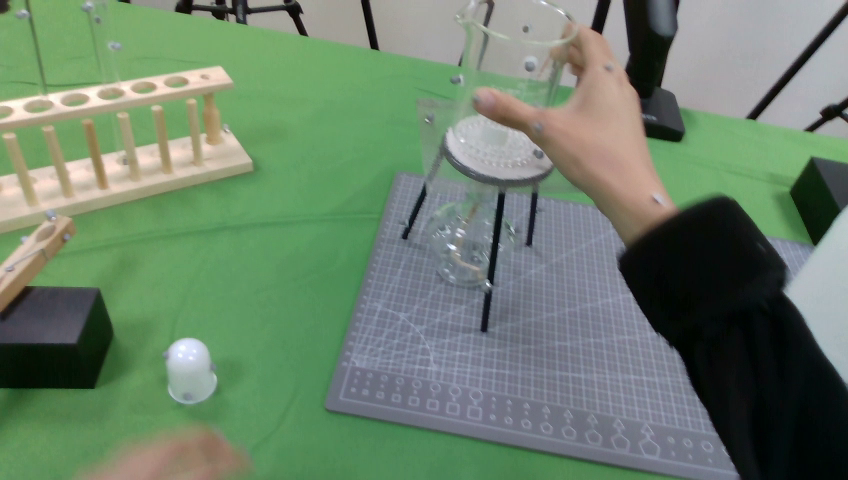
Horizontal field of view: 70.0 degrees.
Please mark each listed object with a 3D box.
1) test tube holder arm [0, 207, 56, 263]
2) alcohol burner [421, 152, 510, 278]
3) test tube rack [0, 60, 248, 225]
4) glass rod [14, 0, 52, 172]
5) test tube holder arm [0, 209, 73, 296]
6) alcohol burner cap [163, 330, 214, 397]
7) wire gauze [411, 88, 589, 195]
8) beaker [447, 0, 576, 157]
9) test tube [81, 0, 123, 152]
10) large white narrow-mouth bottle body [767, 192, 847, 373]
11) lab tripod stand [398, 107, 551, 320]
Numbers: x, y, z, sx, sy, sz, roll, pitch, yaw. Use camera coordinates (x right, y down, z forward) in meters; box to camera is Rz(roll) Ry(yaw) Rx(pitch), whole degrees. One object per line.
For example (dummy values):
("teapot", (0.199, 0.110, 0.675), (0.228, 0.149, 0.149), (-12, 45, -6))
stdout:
("test tube holder arm", (-0.293, 0.038, 0.393), (0.013, 0.015, 0.177), (12, 42, 3))
("alcohol burner", (0.039, -0.025, 0.517), (0.078, 0.120, 0.077), (7, 42, -6))
("test tube rack", (-0.293, -0.092, 0.554), (0.243, 0.086, 0.066), (-20, 50, -28))
("glass rod", (-0.328, -0.145, 0.506), (0.008, 0.201, 0.008), (9, 34, -6))
("test tube holder arm", (-0.279, 0.010, 0.426), (0.010, 0.015, 0.087), (13, 42, 4))
("alcohol burner cap", (-0.165, 0.083, 0.421), (0.034, 0.048, 0.033), (7, 43, -6))
("wire gauze", (0.053, -0.079, 0.465), (0.122, 0.011, 0.123), (0, 47, -8))
("beaker", (0.055, -0.117, 0.434), (0.084, 0.101, 0.073), (5, 44, -4))
("test tube", (-0.282, -0.145, 0.539), (0.017, 0.151, 0.017), (6, 38, -4))
("large white narrow-mouth bottle body", (0.362, 0.012, 0.475), (0.102, 0.196, 0.101), (5, 43, -4))
("lab tripod stand", (0.049, -0.029, 0.508), (0.148, 0.132, 0.147), (6, 44, -6))
